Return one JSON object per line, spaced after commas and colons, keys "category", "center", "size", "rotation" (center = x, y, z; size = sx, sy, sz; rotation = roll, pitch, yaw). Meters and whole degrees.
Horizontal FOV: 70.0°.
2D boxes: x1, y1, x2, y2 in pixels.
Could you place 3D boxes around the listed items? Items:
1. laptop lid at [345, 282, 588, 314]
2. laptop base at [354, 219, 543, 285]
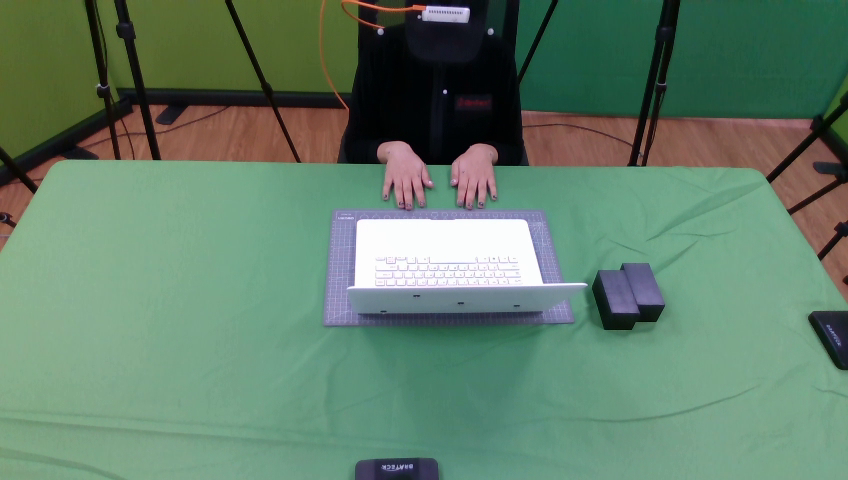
{"category": "laptop lid", "center": [0.057, 0.096, 0.969], "size": [0.357, 0.242, 0.013], "rotation": [0, 74, -6]}
{"category": "laptop base", "center": [0.043, 0.044, 1.162], "size": [0.355, 0.023, 0.234], "rotation": [0, 43, -5]}
